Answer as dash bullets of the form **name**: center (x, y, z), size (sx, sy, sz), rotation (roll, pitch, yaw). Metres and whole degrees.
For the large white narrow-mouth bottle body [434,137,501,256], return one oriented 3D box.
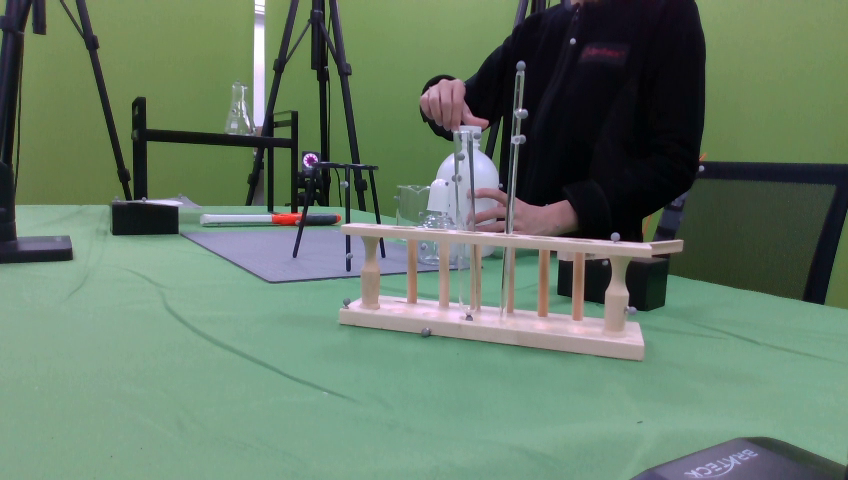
- **large white narrow-mouth bottle body**: center (0.069, -0.078, 0.937), size (0.102, 0.194, 0.102), rotation (2, 8, 0)

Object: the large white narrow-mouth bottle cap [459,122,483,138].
- **large white narrow-mouth bottle cap**: center (0.072, -0.167, 0.924), size (0.038, 0.024, 0.037), rotation (2, 8, 0)

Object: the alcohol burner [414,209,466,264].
- **alcohol burner**: center (0.021, -0.028, 0.826), size (0.078, 0.119, 0.078), rotation (0, 6, 0)

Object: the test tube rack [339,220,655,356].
- **test tube rack**: center (0.056, 0.032, 0.495), size (0.242, 0.085, 0.067), rotation (4, 7, 15)

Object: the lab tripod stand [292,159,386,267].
- **lab tripod stand**: center (-0.105, -0.039, 0.798), size (0.148, 0.131, 0.148), rotation (2, 5, 0)

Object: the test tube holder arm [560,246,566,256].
- **test tube holder arm**: center (0.173, 0.007, 0.611), size (0.088, 0.015, 0.010), rotation (-3, 10, -30)

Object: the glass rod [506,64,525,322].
- **glass rod**: center (0.069, -0.030, 0.458), size (0.008, 0.199, 0.008), rotation (0, 15, 0)

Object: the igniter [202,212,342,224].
- **igniter**: center (-0.298, -0.044, 1.216), size (0.278, 0.025, 0.057), rotation (-2, -2, -32)

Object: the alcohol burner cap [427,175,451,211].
- **alcohol burner cap**: center (0.023, -0.064, 0.822), size (0.034, 0.048, 0.034), rotation (7, 5, 0)

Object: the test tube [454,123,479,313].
- **test tube**: center (0.034, -0.016, 0.477), size (0.017, 0.150, 0.017), rotation (-2, 9, 1)

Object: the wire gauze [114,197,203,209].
- **wire gauze**: center (-0.447, -0.062, 1.015), size (0.126, 0.011, 0.121), rotation (-2, 8, -31)

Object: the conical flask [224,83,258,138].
- **conical flask**: center (-0.422, -0.299, 1.395), size (0.075, 0.122, 0.075), rotation (2, 7, 0)

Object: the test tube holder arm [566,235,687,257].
- **test tube holder arm**: center (0.215, 0.006, 0.630), size (0.179, 0.015, 0.013), rotation (-3, 10, -30)

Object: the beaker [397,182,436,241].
- **beaker**: center (-0.012, -0.050, 1.072), size (0.074, 0.100, 0.084), rotation (1, 8, -4)
